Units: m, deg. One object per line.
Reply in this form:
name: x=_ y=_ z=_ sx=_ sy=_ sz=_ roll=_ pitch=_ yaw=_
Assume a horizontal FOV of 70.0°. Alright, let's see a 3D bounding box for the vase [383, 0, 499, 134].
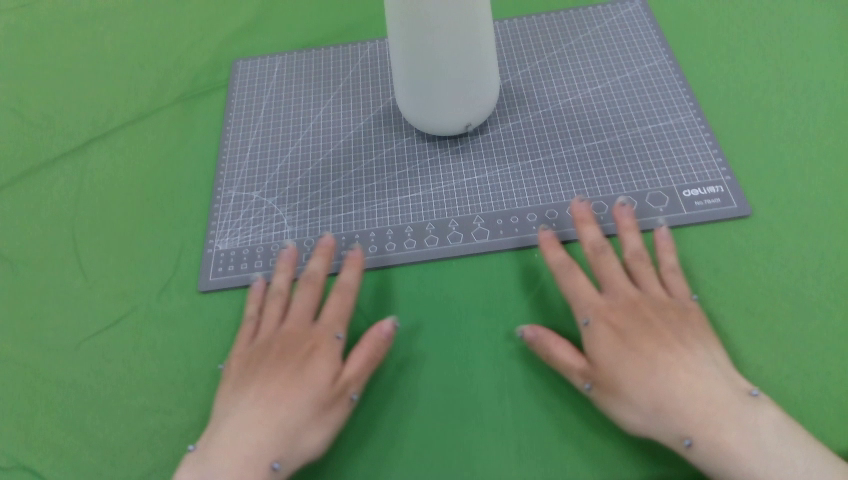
vase: x=0.011 y=-0.185 z=0.504 sx=0.098 sy=0.202 sz=0.097 roll=-4 pitch=53 yaw=6
